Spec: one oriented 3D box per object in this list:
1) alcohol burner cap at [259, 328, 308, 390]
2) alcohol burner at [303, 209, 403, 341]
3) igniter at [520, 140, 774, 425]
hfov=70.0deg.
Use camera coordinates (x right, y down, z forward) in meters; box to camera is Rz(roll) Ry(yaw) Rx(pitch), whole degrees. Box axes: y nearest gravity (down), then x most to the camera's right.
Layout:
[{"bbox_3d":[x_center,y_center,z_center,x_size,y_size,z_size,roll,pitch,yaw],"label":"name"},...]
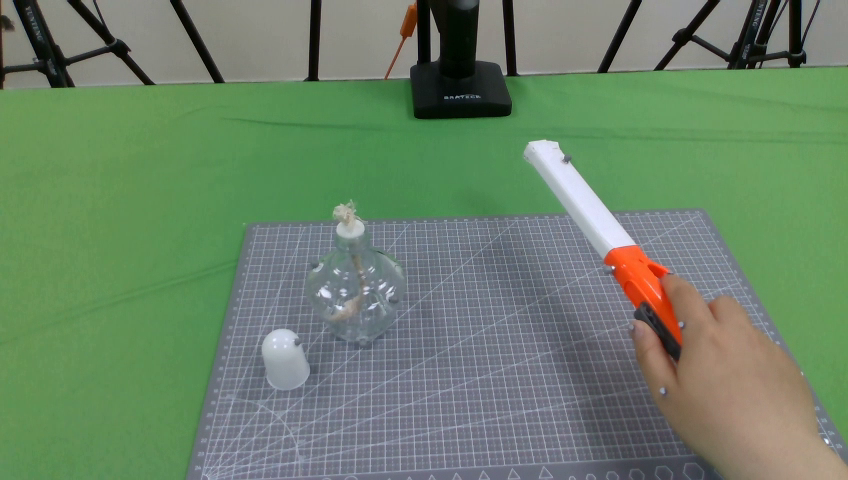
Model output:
[{"bbox_3d":[-0.105,0.084,0.446,0.034,0.048,0.033,1,43,0],"label":"alcohol burner cap"},{"bbox_3d":[-0.055,0.022,0.461,0.078,0.120,0.077,2,44,-1],"label":"alcohol burner"},{"bbox_3d":[0.153,0.018,0.455,0.057,0.025,0.273,-8,50,-28],"label":"igniter"}]
